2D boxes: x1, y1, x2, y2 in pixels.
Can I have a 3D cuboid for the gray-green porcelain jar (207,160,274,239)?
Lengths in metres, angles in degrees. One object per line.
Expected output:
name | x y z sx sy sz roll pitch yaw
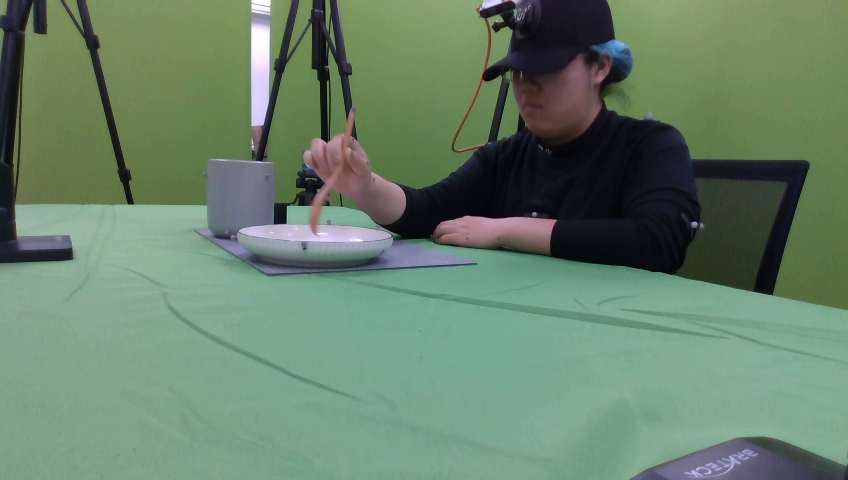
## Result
gray-green porcelain jar | -0.304 -0.068 1.003 0.106 0.126 0.106 3 7 0

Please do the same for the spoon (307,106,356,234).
spoon | -0.124 -0.098 0.829 0.021 0.193 0.041 19 -17 1

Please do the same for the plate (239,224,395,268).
plate | -0.144 0.007 0.823 0.208 0.039 0.207 3 7 0
